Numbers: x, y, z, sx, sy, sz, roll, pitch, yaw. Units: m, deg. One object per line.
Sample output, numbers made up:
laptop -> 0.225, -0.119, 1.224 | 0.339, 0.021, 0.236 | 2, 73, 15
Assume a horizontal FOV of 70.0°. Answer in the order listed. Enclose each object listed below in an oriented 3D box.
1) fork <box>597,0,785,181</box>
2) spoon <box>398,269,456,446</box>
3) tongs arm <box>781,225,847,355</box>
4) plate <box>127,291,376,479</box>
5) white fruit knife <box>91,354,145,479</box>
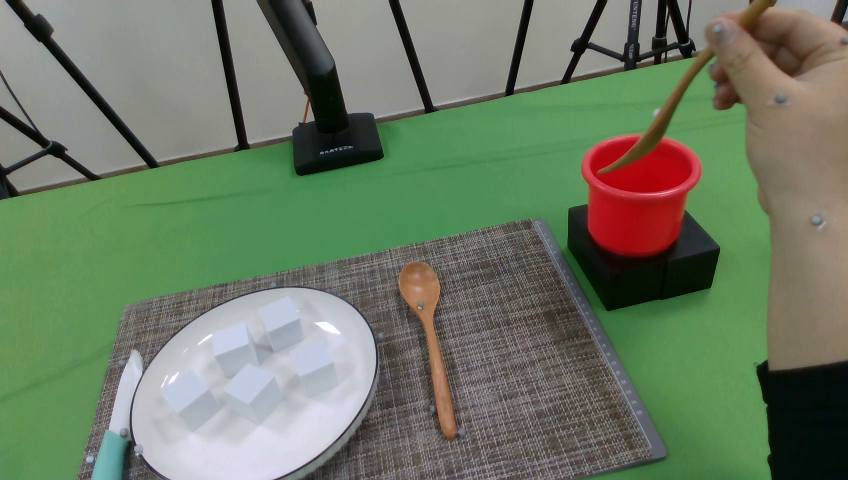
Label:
fork -> 0.163, -0.092, 0.363 | 0.028, 0.208, 0.018 | -17, 66, -24
spoon -> 0.006, 0.096, 0.544 | 0.042, 0.022, 0.191 | 3, 37, -13
tongs arm -> 0.358, 0.116, 0.455 | 0.028, 0.028, 0.383 | -3, 40, 4
plate -> -0.142, 0.130, 0.520 | 0.207, 0.039, 0.205 | -5, 40, 5
white fruit knife -> -0.258, 0.172, 0.510 | 0.027, 0.016, 0.205 | 11, 32, -22
